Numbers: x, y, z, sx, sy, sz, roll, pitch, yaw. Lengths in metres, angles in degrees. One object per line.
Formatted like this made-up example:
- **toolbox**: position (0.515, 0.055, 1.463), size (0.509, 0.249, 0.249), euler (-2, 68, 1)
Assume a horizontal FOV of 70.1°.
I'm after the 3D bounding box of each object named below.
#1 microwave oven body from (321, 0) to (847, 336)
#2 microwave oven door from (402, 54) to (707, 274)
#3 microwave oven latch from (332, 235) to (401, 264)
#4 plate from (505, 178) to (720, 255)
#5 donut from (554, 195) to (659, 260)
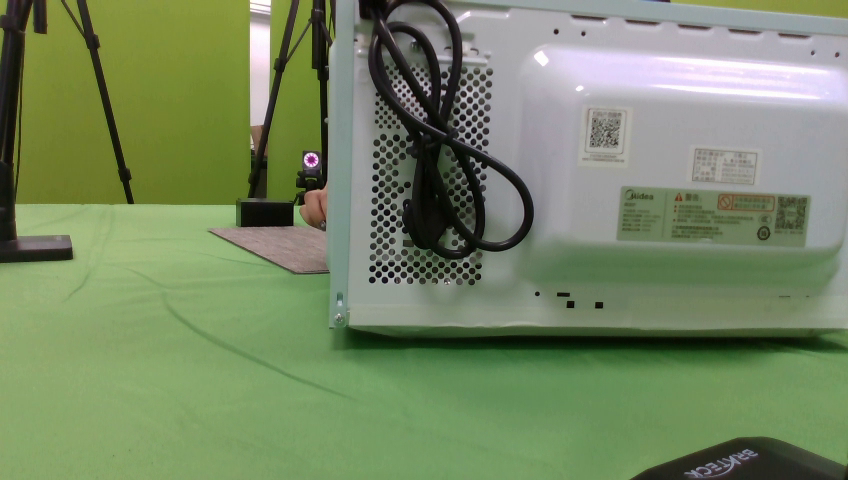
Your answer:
- **microwave oven body**: position (0.133, -0.062, 0.567), size (0.443, 0.260, 0.325), euler (2, 6, -8)
- **microwave oven door**: position (0.157, -0.085, 0.717), size (0.357, 0.243, 0.039), euler (1, 8, -8)
- **microwave oven latch**: position (-0.066, 0.011, 0.700), size (0.079, 0.029, 0.030), euler (2, 6, -8)
- **plate**: position (0.184, -0.025, 0.615), size (0.209, 0.038, 0.209), euler (5, 16, -1)
- **donut**: position (0.172, -0.014, 0.574), size (0.099, 0.048, 0.099), euler (-13, 11, 3)
